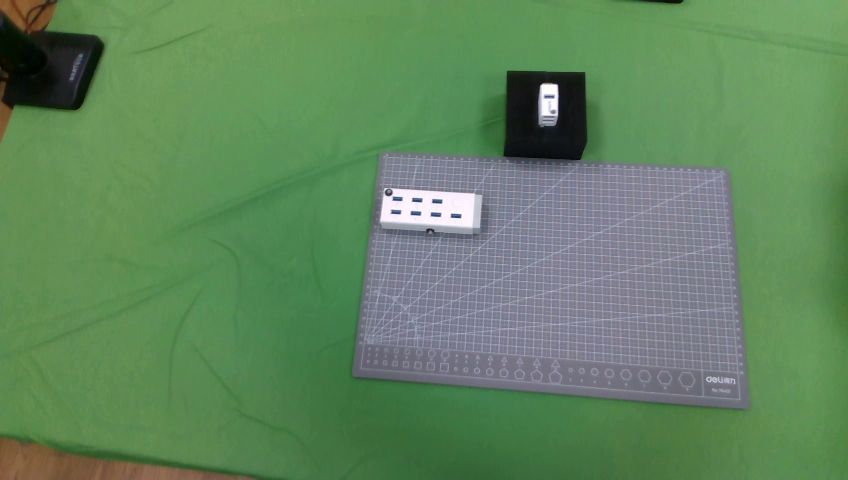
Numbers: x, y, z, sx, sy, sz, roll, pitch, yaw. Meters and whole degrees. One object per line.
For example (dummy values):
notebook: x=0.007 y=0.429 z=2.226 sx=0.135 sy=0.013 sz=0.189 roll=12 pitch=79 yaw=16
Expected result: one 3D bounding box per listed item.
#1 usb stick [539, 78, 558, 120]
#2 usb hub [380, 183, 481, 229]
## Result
usb stick: x=0.154 y=-0.180 z=0.750 sx=0.021 sy=0.027 sz=0.059 roll=1 pitch=68 yaw=7
usb hub: x=0.008 y=-0.043 z=0.760 sx=0.125 sy=0.025 sz=0.049 roll=4 pitch=71 yaw=4
